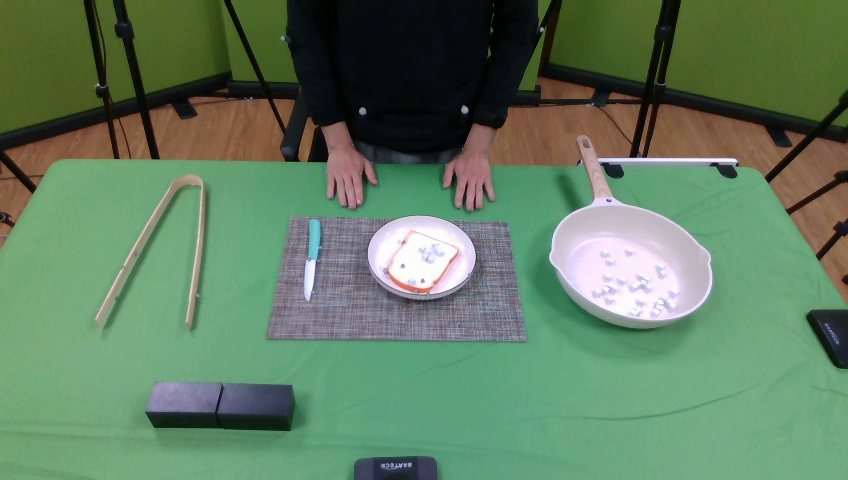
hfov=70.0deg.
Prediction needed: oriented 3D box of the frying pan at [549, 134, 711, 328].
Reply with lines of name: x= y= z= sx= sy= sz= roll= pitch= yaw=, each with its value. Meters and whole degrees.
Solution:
frying pan: x=0.372 y=-0.035 z=1.203 sx=0.307 sy=0.103 sz=0.484 roll=-1 pitch=55 yaw=-6

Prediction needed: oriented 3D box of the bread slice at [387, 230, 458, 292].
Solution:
bread slice: x=-0.007 y=0.043 z=1.142 sx=0.107 sy=0.018 sz=0.134 roll=18 pitch=46 yaw=14

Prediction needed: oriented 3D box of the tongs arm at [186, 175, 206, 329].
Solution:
tongs arm: x=-0.436 y=0.008 z=1.151 sx=0.028 sy=0.028 sz=0.385 roll=-8 pitch=47 yaw=-8

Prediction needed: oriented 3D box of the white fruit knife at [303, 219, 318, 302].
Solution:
white fruit knife: x=-0.216 y=0.034 z=1.148 sx=0.027 sy=0.016 sz=0.206 roll=-21 pitch=46 yaw=17

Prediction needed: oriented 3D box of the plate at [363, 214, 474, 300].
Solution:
plate: x=-0.010 y=0.036 z=1.146 sx=0.208 sy=0.039 sz=0.206 roll=3 pitch=46 yaw=-2

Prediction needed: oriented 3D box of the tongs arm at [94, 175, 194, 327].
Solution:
tongs arm: x=-0.516 y=0.006 z=1.142 sx=0.051 sy=0.026 sz=0.382 roll=4 pitch=45 yaw=-1
